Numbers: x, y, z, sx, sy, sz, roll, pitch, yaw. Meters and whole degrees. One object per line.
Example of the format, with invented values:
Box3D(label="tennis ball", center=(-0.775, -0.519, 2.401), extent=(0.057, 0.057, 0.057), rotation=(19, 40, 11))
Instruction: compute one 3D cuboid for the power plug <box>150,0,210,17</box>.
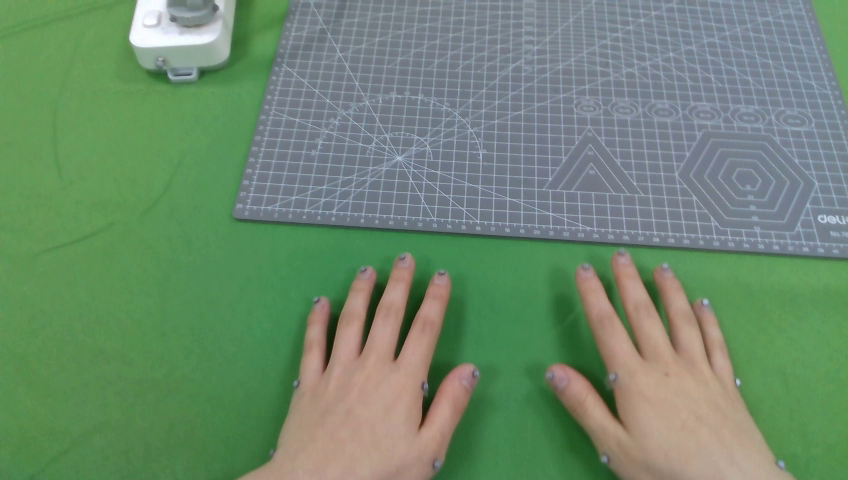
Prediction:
Box3D(label="power plug", center=(-0.180, -0.193, 0.441), extent=(0.035, 0.073, 0.052), rotation=(18, 76, -2))

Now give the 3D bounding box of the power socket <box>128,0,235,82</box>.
Box3D(label="power socket", center=(-0.198, -0.230, 0.518), extent=(0.072, 0.033, 0.224), rotation=(-3, 61, -3))
